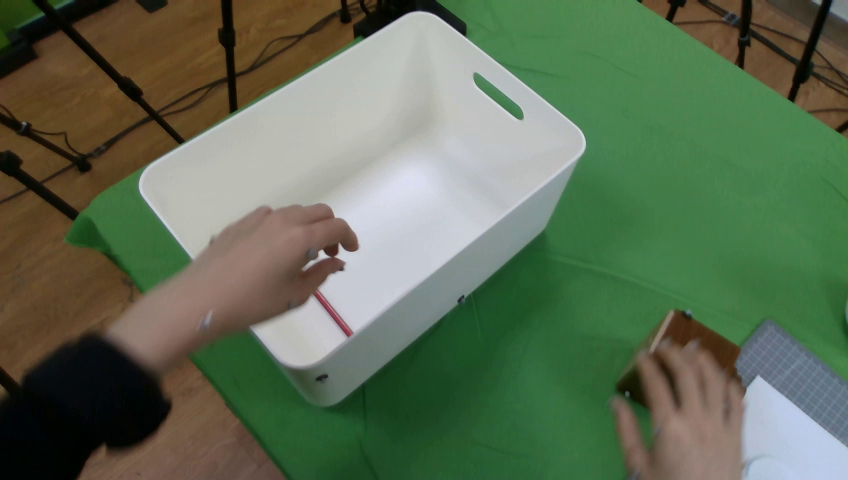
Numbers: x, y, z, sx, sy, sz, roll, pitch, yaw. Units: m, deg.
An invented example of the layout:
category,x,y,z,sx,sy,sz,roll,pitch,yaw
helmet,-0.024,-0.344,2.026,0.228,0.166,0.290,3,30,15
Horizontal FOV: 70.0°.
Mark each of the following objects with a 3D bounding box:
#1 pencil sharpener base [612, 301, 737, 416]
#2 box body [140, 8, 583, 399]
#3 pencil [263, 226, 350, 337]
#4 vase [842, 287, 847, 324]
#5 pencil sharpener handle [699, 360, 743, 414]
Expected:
category,x,y,z,sx,sy,sz,roll,pitch,yaw
pencil sharpener base,0.243,0.120,0.593,0.076,0.108,0.061,32,64,14
box body,-0.053,-0.042,0.637,0.364,0.161,0.252,-38,69,-21
pencil,-0.121,0.054,0.660,0.012,0.012,0.192,-34,69,-19
vase,0.512,0.041,0.596,0.098,0.201,0.097,1,59,-1
pencil sharpener handle,0.285,0.141,0.569,0.030,0.068,0.036,32,58,14
